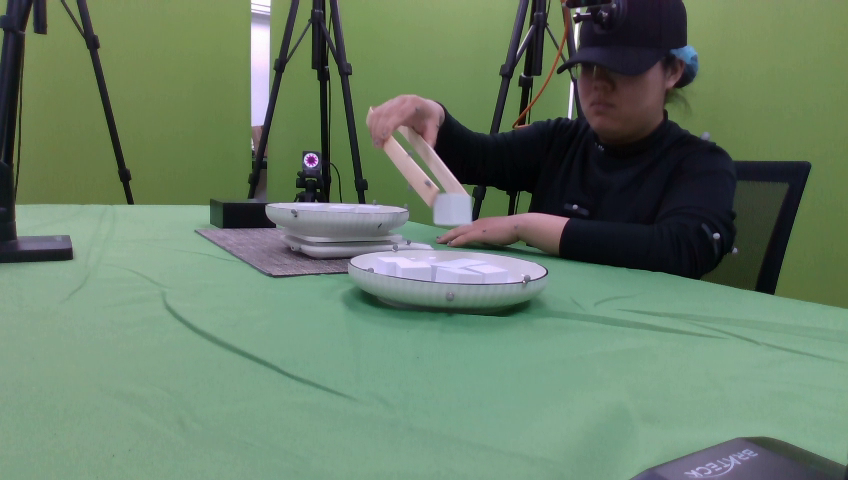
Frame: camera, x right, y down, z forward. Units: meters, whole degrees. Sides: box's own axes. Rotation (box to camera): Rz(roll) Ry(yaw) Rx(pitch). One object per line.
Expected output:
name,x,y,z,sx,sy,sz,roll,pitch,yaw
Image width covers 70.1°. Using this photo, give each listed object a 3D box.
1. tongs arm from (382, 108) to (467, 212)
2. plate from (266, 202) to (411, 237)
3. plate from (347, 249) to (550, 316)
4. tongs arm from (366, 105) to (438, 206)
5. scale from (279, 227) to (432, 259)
tongs arm,-0.007,-0.125,0.854,0.028,0.028,0.386,6,24,-20
plate,-0.123,-0.030,0.879,0.208,0.039,0.207,2,6,0
plate,0.025,0.042,0.627,0.209,0.038,0.209,2,7,0
tongs arm,-0.030,-0.130,0.845,0.051,0.026,0.383,8,23,-24
scale,-0.100,0.001,0.899,0.202,0.031,0.148,-1,9,-31
